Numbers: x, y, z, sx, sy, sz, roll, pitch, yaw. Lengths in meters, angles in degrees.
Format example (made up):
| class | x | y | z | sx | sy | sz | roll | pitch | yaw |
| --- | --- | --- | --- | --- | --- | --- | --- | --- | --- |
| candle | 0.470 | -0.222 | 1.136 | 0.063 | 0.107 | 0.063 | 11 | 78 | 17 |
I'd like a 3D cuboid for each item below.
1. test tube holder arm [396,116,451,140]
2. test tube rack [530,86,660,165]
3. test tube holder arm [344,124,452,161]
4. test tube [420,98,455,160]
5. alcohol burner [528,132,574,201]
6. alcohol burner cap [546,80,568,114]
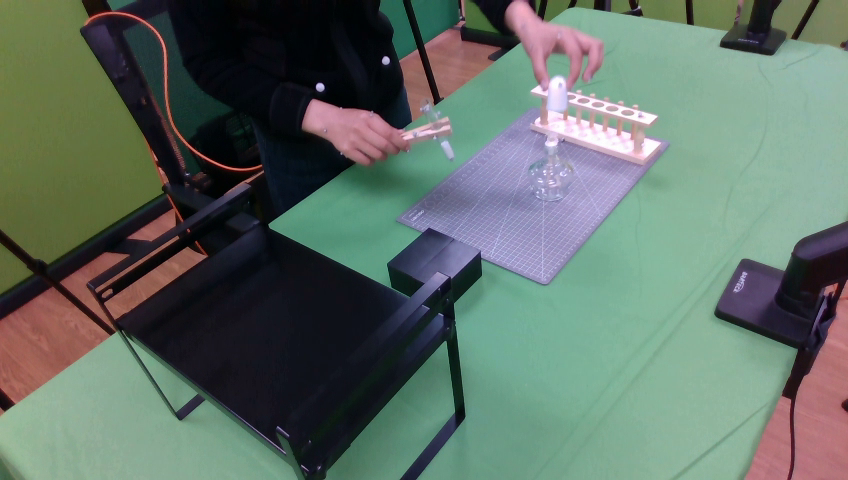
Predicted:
| class | x | y | z | sx | sy | sz | roll | pitch | yaw |
| --- | --- | --- | --- | --- | --- | --- | --- | --- | --- |
| test tube holder arm | -0.001 | -0.170 | 0.943 | 0.088 | 0.015 | 0.010 | -21 | 55 | 8 |
| test tube rack | 0.320 | -0.226 | 1.140 | 0.240 | 0.085 | 0.067 | 27 | 51 | 34 |
| test tube holder arm | -0.042 | -0.153 | 0.948 | 0.178 | 0.015 | 0.013 | -14 | 56 | 12 |
| test tube | 0.024 | -0.170 | 0.942 | 0.017 | 0.151 | 0.017 | -8 | 62 | 16 |
| alcohol burner | 0.214 | -0.126 | 1.016 | 0.078 | 0.119 | 0.077 | -5 | 39 | 5 |
| alcohol burner cap | 0.200 | -0.215 | 0.901 | 0.034 | 0.048 | 0.033 | -3 | 36 | 2 |
